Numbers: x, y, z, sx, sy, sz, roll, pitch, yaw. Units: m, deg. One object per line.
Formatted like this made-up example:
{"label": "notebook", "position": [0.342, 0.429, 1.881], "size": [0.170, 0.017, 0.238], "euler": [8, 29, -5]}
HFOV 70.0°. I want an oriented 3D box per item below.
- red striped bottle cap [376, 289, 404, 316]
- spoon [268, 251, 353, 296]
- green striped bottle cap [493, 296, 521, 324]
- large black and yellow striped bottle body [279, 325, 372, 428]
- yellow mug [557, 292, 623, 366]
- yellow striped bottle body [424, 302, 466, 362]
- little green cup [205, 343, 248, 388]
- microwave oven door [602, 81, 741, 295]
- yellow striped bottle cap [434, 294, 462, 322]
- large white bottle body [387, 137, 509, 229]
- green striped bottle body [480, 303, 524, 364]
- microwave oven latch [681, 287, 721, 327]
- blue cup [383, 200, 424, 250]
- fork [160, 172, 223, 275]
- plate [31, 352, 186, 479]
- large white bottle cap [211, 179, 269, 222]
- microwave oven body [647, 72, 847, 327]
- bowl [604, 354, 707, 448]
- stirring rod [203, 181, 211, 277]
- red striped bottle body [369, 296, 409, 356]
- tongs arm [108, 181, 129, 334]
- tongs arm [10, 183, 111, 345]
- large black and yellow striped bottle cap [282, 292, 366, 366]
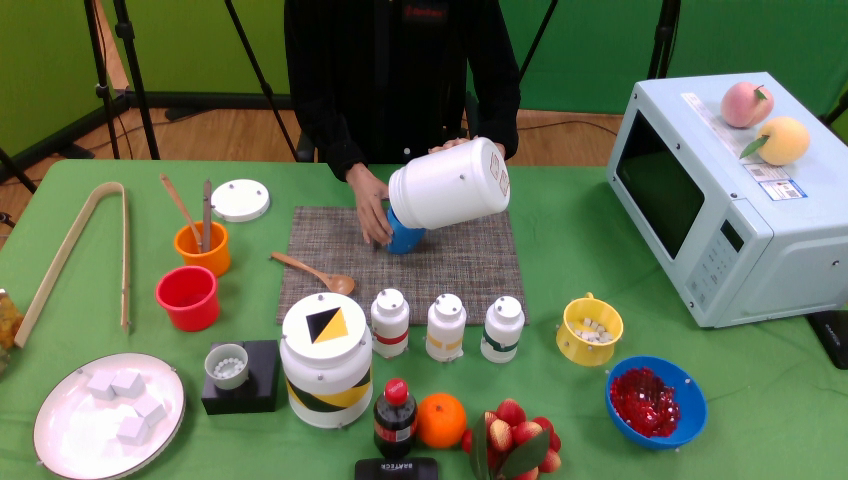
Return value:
{"label": "red striped bottle cap", "position": [-0.054, 0.098, 0.958], "size": [0.044, 0.018, 0.044], "euler": [0, 48, 1]}
{"label": "spoon", "position": [-0.212, 0.057, 1.121], "size": [0.193, 0.022, 0.041], "euler": [24, 74, 18]}
{"label": "green striped bottle cap", "position": [0.133, 0.111, 0.962], "size": [0.044, 0.020, 0.044], "euler": [2, 47, -1]}
{"label": "large black and yellow striped bottle body", "position": [-0.143, 0.181, 0.900], "size": [0.131, 0.185, 0.130], "euler": [2, 46, -2]}
{"label": "yellow mug", "position": [0.285, 0.145, 1.051], "size": [0.100, 0.064, 0.130], "euler": [7, 46, 4]}
{"label": "yellow striped bottle body", "position": [0.035, 0.143, 0.995], "size": [0.063, 0.121, 0.062], "euler": [3, 46, -3]}
{"label": "little green cup", "position": [-0.294, 0.191, 0.909], "size": [0.061, 0.039, 0.061], "euler": [1, 48, -1]}
{"label": "microwave oven door", "position": [0.456, -0.107, 1.162], "size": [0.039, 0.245, 0.353], "euler": [-7, 47, -11]}
{"label": "yellow striped bottle cap", "position": [0.038, 0.107, 0.958], "size": [0.044, 0.019, 0.044], "euler": [2, 45, -2]}
{"label": "large white bottle body", "position": [0.041, -0.092, 1.052], "size": [0.184, 0.131, 0.130], "euler": [-14, 39, 27]}
{"label": "green striped bottle body", "position": [0.129, 0.147, 1.000], "size": [0.063, 0.120, 0.063], "euler": [2, 46, -2]}
{"label": "microwave oven latch", "position": [0.494, 0.119, 1.087], "size": [0.030, 0.029, 0.078], "euler": [-6, 46, -9]}
{"label": "blue cup", "position": [-0.038, -0.033, 1.153], "size": [0.093, 0.100, 0.092], "euler": [8, 53, -11]}
{"label": "fork", "position": [-0.425, -0.030, 1.103], "size": [0.028, 0.018, 0.207], "euler": [-28, 98, -12]}
{"label": "plate", "position": [-0.459, 0.262, 0.898], "size": [0.209, 0.038, 0.208], "euler": [2, 46, -2]}
{"label": "large white bottle cap", "position": [-0.380, -0.082, 1.250], "size": [0.115, 0.018, 0.114], "euler": [2, 47, -2]}
{"label": "microwave oven body", "position": [0.607, -0.089, 1.164], "size": [0.326, 0.261, 0.438], "euler": [-7, 46, -10]}
{"label": "bowl", "position": [0.346, 0.261, 0.937], "size": [0.151, 0.077, 0.150], "euler": [2, 46, -2]}
{"label": "stirring rod", "position": [-0.396, -0.021, 1.107], "size": [0.014, 0.006, 0.176], "euler": [-1, 89, -1]}
{"label": "red striped bottle body", "position": [-0.058, 0.135, 0.997], "size": [0.063, 0.120, 0.062], "euler": [5, 48, -6]}
{"label": "tongs arm", "position": [-0.571, 0.019, 1.123], "size": [0.051, 0.026, 0.382], "euler": [-11, 47, -12]}
{"label": "tongs arm", "position": [-0.658, 0.027, 1.109], "size": [0.028, 0.028, 0.385], "euler": [-2, 45, 2]}
{"label": "large black and yellow striped bottle cap", "position": [-0.138, 0.121, 0.841], "size": [0.115, 0.019, 0.114], "euler": [3, 47, -3]}
